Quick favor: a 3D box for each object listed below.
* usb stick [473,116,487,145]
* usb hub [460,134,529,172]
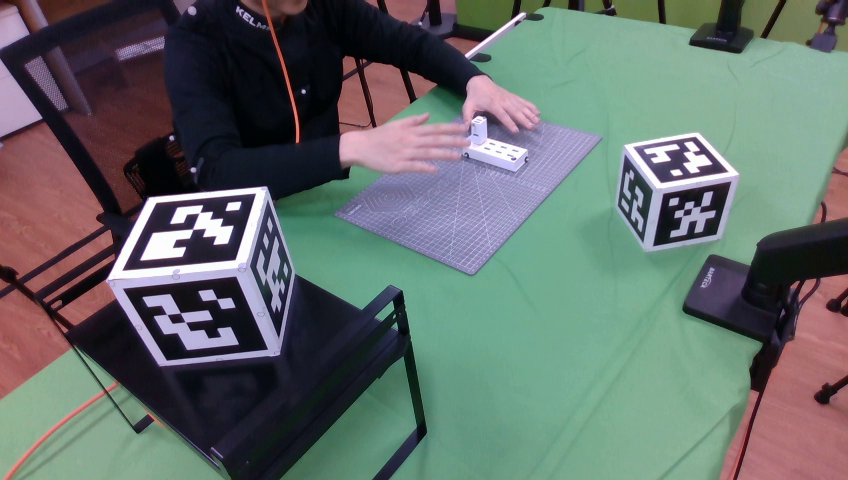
[{"bbox_3d":[0.105,-0.209,1.127,0.021,0.059,0.027,7,46,3],"label":"usb stick"},{"bbox_3d":[0.132,-0.165,1.138,0.124,0.025,0.049,22,49,30],"label":"usb hub"}]
